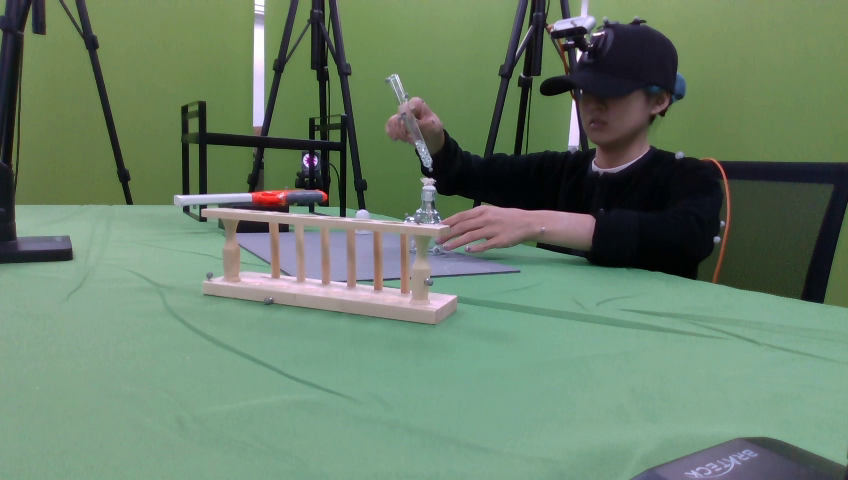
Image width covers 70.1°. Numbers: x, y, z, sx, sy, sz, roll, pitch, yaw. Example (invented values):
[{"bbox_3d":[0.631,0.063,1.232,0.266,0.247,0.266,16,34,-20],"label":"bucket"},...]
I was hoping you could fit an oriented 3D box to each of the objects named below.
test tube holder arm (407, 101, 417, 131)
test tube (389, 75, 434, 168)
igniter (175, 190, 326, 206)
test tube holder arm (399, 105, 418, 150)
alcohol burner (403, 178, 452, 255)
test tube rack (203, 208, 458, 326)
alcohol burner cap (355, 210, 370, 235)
[{"bbox_3d":[-0.019,-0.189,0.933,0.010,0.015,0.088,-18,-10,-7],"label":"test tube holder arm"},{"bbox_3d":[-0.018,-0.179,0.908,0.017,0.150,0.017,-22,-3,-1],"label":"test tube"},{"bbox_3d":[-0.315,-0.079,1.128,0.278,0.025,0.057,-5,13,-34],"label":"igniter"},{"bbox_3d":[-0.024,-0.179,0.977,0.013,0.015,0.178,-18,-10,1],"label":"test tube holder arm"},{"bbox_3d":[0.005,-0.036,0.923,0.078,0.119,0.078,5,7,0],"label":"alcohol burner"},{"bbox_3d":[-0.090,0.019,0.579,0.242,0.085,0.067,5,7,19],"label":"test tube rack"},{"bbox_3d":[-0.116,-0.033,1.136,0.034,0.048,0.034,2,7,0],"label":"alcohol burner cap"}]
